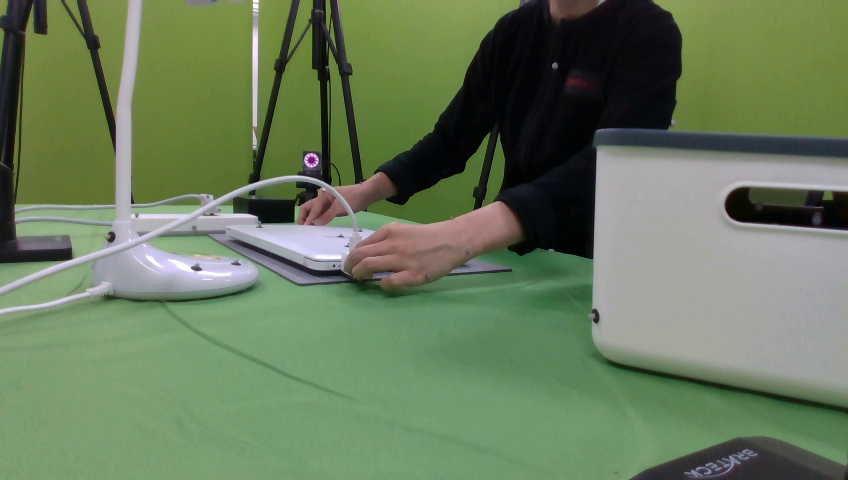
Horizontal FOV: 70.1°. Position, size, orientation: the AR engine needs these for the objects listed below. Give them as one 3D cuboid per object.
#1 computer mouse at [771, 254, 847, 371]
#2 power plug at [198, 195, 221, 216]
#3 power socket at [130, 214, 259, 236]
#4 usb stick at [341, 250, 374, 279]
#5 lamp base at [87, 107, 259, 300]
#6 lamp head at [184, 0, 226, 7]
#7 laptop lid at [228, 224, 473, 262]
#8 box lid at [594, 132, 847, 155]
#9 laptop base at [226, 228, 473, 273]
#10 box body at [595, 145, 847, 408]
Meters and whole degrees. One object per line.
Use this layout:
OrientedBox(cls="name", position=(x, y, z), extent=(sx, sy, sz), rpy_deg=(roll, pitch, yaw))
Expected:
OrientedBox(cls="computer mouse", position=(0.344, 0.057, 0.519), extent=(0.063, 0.041, 0.117), rpy_deg=(12, 47, 4))
OrientedBox(cls="power plug", position=(-0.386, -0.055, 1.088), extent=(0.035, 0.052, 0.072), rpy_deg=(-2, 6, -24))
OrientedBox(cls="power socket", position=(-0.397, -0.028, 1.048), extent=(0.228, 0.032, 0.072), rpy_deg=(-3, 7, -35))
OrientedBox(cls="usb stick", position=(-0.079, 0.027, 0.687), extent=(0.021, 0.027, 0.059), rpy_deg=(-2, 7, -31))
OrientedBox(cls="lamp base", position=(-0.254, -0.039, 0.603), extent=(0.160, 0.180, 0.179), rpy_deg=(5, 10, 18))
OrientedBox(cls="lamp head", position=(-0.229, -0.320, 0.627), extent=(0.112, 0.112, 0.123), rpy_deg=(6, -35, 26))
OrientedBox(cls="laptop lid", position=(-0.123, 0.000, 0.888), extent=(0.243, 0.013, 0.355), rpy_deg=(1, 7, -33))
OrientedBox(cls="box lid", position=(0.310, -0.066, 0.499), extent=(0.262, 0.015, 0.373), rpy_deg=(7, 8, 29))
OrientedBox(cls="laptop base", position=(-0.125, 0.012, 0.889), extent=(0.237, 0.023, 0.352), rpy_deg=(1, 7, -35))
OrientedBox(cls="box body", position=(0.309, 0.007, 0.510), extent=(0.253, 0.160, 0.366), rpy_deg=(6, 8, 29))
